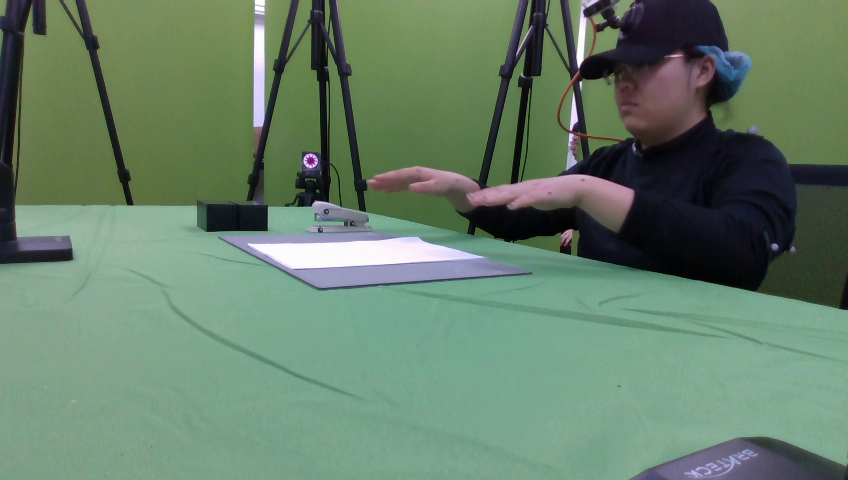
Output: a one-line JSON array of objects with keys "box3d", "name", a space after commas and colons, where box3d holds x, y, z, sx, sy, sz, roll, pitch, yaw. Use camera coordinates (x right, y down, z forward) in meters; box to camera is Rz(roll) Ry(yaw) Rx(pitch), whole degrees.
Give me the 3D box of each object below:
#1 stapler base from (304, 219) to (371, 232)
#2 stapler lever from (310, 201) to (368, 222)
[{"box3d": [-0.169, -0.030, 1.186, 0.131, 0.024, 0.041, 0, 9, -33], "name": "stapler base"}, {"box3d": [-0.166, -0.055, 1.185, 0.119, 0.040, 0.026, 0, 9, -33], "name": "stapler lever"}]
